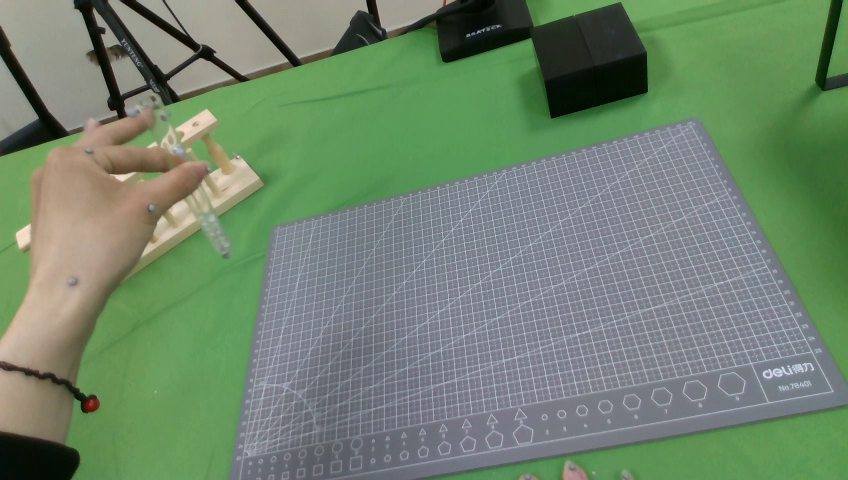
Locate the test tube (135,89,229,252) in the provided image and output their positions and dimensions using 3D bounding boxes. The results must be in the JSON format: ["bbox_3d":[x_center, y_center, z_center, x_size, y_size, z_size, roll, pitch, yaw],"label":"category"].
[{"bbox_3d":[-0.172,-0.043,0.443,0.017,0.152,0.017,-3,48,4],"label":"test tube"}]

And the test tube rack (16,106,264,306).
[{"bbox_3d":[-0.313,-0.040,0.682,0.242,0.086,0.066,-37,48,-12],"label":"test tube rack"}]
